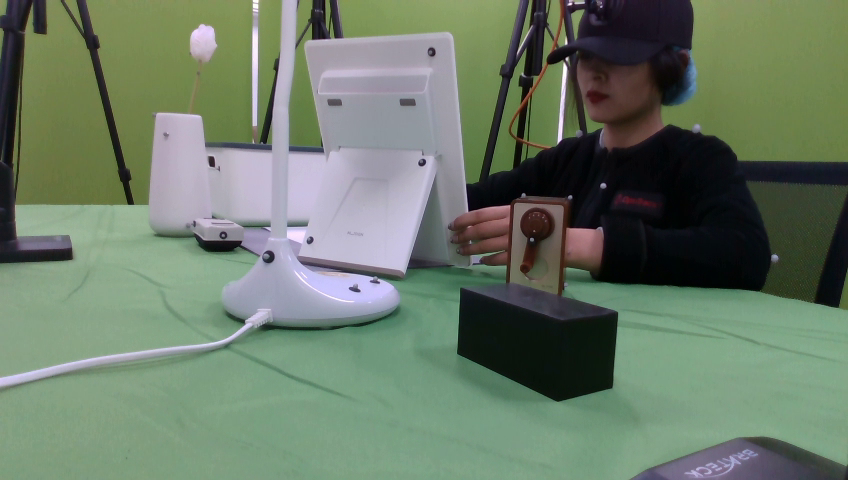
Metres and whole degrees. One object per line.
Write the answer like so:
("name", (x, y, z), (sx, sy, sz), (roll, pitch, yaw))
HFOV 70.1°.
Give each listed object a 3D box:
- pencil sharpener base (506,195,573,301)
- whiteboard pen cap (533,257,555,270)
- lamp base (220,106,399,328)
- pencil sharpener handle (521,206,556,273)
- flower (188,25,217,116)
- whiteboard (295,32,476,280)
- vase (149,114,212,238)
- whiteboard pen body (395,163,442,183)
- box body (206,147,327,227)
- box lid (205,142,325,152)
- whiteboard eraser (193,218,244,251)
("pencil sharpener base", (0.127, 0.007, 0.662), (0.061, 0.107, 0.077), (5, 8, 15))
("whiteboard pen cap", (0.166, 0.032, 0.839), (0.018, 0.018, 0.033), (-1, 5, -23))
("lamp base", (-0.102, -0.023, 0.531), (0.160, 0.180, 0.179), (4, 10, 10))
("pencil sharpener handle", (0.111, 0.000, 0.612), (0.036, 0.067, 0.031), (13, 10, 14))
("flower", (-0.394, -0.189, 1.011), (0.044, 0.361, 0.038), (-1, -13, 27))
("whiteboard", (-0.076, -0.083, 0.747), (0.216, 0.305, 0.144), (7, 28, 29))
("vase", (-0.405, -0.106, 1.005), (0.098, 0.200, 0.098), (2, 6, 0))
("whiteboard pen body", (-0.008, -0.096, 0.872), (0.017, 0.017, 0.141), (6, 16, 25))
("box body", (-0.276, -0.122, 1.320), (0.366, 0.160, 0.253), (-2, 9, -30))
("box lid", (-0.270, -0.196, 1.310), (0.373, 0.015, 0.262), (-2, 9, -30))
("whiteboard eraser", (-0.307, -0.009, 0.900), (0.056, 0.042, 0.112), (-3, 10, -29))
